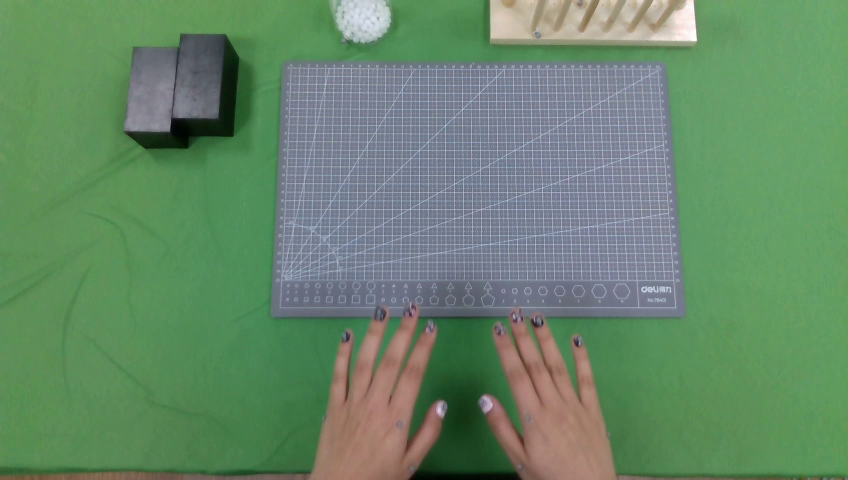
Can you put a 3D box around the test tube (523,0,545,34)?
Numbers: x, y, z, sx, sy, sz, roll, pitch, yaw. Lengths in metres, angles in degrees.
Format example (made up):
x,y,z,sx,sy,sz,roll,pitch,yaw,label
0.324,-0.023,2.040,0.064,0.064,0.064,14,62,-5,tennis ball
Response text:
x,y,z,sx,sy,sz,roll,pitch,yaw,label
0.124,-0.266,0.639,0.017,0.151,0.017,0,76,0,test tube

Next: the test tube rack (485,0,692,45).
x,y,z,sx,sy,sz,roll,pitch,yaw,label
0.195,-0.274,0.687,0.242,0.085,0.066,0,79,0,test tube rack

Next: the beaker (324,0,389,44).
x,y,z,sx,sy,sz,roll,pitch,yaw,label
-0.077,-0.276,0.678,0.074,0.100,0.083,-4,78,-1,beaker

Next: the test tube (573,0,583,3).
x,y,z,sx,sy,sz,roll,pitch,yaw,label
0.184,-0.302,0.642,0.017,0.151,0.017,1,76,-3,test tube
